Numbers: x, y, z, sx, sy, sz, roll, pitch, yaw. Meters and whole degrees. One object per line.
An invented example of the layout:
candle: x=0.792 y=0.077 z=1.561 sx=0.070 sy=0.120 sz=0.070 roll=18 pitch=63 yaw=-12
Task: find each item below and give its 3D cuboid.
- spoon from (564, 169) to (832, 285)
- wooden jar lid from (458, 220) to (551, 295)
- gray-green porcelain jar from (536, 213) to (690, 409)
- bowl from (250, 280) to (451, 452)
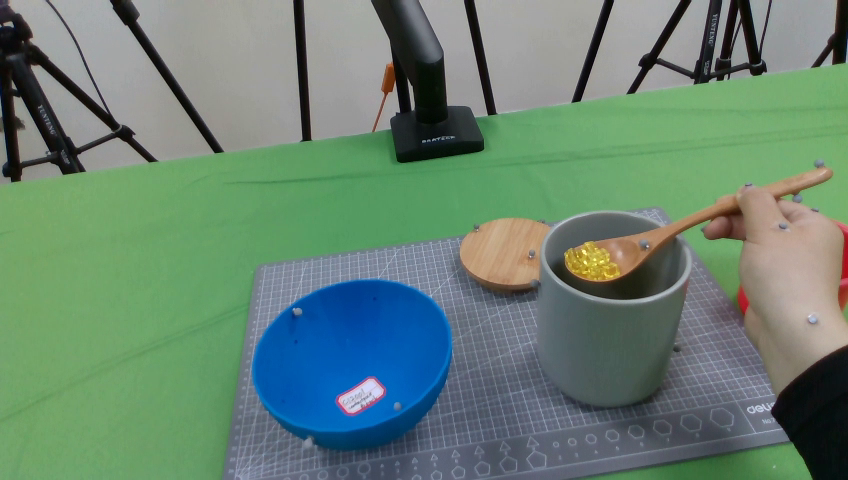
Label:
spoon: x=0.194 y=-0.011 z=0.432 sx=0.193 sy=0.022 sz=0.041 roll=-24 pitch=39 yaw=10
wooden jar lid: x=0.089 y=0.019 z=0.618 sx=0.108 sy=0.021 sz=0.107 roll=-4 pitch=37 yaw=4
gray-green porcelain jar: x=0.141 y=0.059 z=0.472 sx=0.106 sy=0.128 sz=0.105 roll=-4 pitch=39 yaw=4
bowl: x=-0.051 y=0.110 z=0.475 sx=0.151 sy=0.077 sz=0.150 roll=-4 pitch=39 yaw=3
